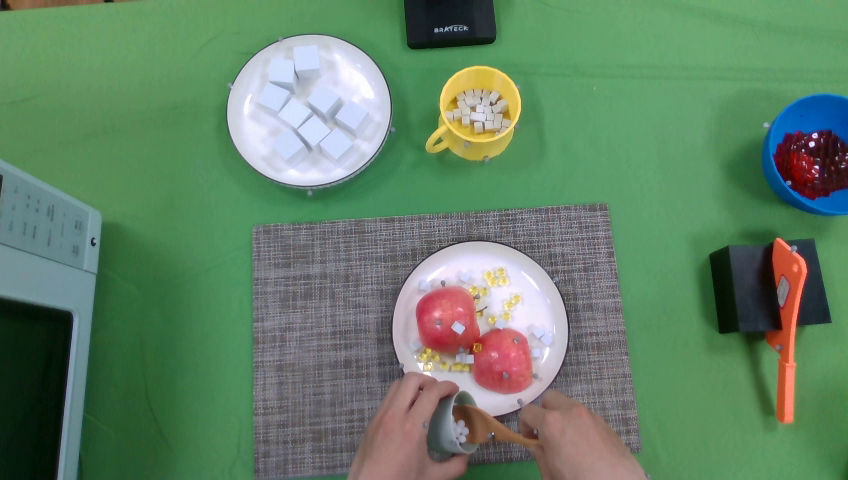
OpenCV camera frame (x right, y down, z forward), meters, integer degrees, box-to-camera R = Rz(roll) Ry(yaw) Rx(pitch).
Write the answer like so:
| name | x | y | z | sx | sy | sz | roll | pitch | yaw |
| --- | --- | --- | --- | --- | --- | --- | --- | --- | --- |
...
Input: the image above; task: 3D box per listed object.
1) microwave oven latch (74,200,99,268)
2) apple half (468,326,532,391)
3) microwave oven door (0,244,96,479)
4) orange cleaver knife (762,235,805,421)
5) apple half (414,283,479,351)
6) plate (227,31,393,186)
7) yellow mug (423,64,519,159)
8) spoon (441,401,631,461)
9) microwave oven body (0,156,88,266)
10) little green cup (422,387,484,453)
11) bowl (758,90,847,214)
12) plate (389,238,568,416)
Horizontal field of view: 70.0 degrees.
| name | x | y | z | sx | sy | sz | roll | pitch | yaw |
| --- | --- | --- | --- | --- | --- | --- | --- | --- | --- |
| microwave oven latch | -0.408 | -0.007 | 0.722 | 0.030 | 0.029 | 0.079 | 1 | 79 | 0 |
| apple half | 0.089 | 0.138 | 0.703 | 0.081 | 0.033 | 0.081 | 0 | 75 | 1 |
| microwave oven door | -0.408 | 0.186 | 0.578 | 0.039 | 0.245 | 0.354 | -1 | 78 | 0 |
| orange cleaver knife | 0.410 | 0.102 | 0.699 | 0.012 | 0.077 | 0.212 | -3 | 102 | 3 |
| apple half | 0.025 | 0.089 | 0.704 | 0.074 | 0.053 | 0.080 | -6 | 79 | 1 |
| plate | -0.143 | -0.166 | 0.776 | 0.208 | 0.039 | 0.206 | 0 | 78 | 0 |
| yellow mug | 0.054 | -0.152 | 0.759 | 0.131 | 0.064 | 0.099 | -35 | 80 | -7 |
| spoon | 0.097 | 0.185 | 0.571 | 0.192 | 0.022 | 0.041 | 1 | 96 | 39 |
| microwave oven body | -0.555 | 0.146 | 0.591 | 0.326 | 0.261 | 0.439 | -1 | 79 | -1 |
| little green cup | 0.029 | 0.186 | 0.619 | 0.062 | 0.038 | 0.061 | 24 | 46 | -27 |
| bowl | 0.475 | -0.097 | 0.743 | 0.151 | 0.077 | 0.150 | 0 | 78 | 0 |
| plate | 0.062 | 0.101 | 0.717 | 0.209 | 0.038 | 0.208 | 0 | 79 | 0 |
